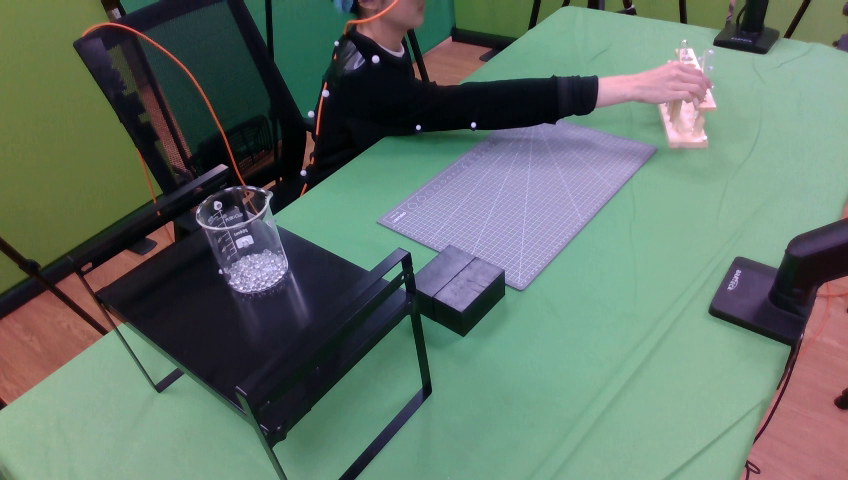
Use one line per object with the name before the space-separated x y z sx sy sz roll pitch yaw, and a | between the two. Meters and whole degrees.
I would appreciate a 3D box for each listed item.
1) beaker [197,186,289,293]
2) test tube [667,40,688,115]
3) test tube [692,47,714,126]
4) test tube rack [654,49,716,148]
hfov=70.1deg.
beaker | -0.192 0.001 0.666 0.084 0.101 0.073 -33 47 -27
test tube | 0.477 -0.303 1.139 0.017 0.151 0.017 -5 42 5
test tube | 0.503 -0.272 1.090 0.017 0.151 0.017 -5 36 4
test tube rack | 0.502 -0.281 1.176 0.066 0.085 0.241 1 41 11
